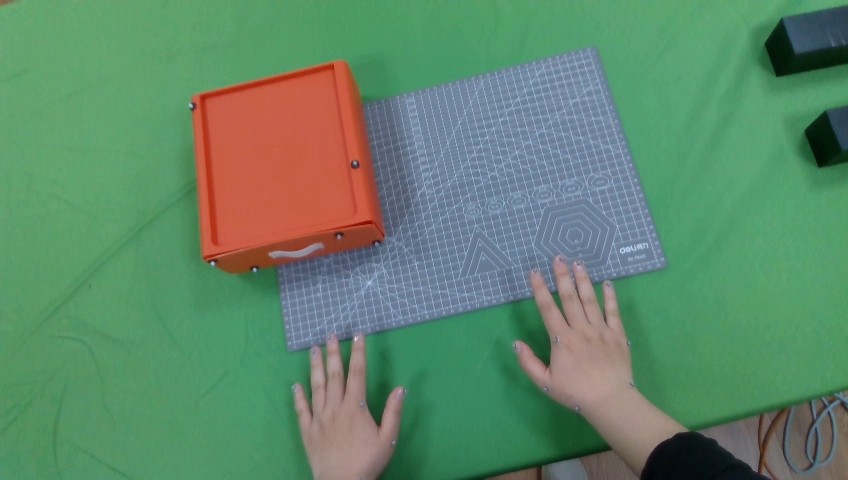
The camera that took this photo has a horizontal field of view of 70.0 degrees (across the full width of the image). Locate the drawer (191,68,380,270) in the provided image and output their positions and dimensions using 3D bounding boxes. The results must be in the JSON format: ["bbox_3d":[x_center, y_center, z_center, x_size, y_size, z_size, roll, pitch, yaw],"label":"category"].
[{"bbox_3d":[-0.168,-0.084,0.729,0.194,0.074,0.210,-13,73,5],"label":"drawer"}]

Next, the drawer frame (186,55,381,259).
[{"bbox_3d":[-0.171,-0.090,0.729,0.201,0.083,0.212,-13,73,4],"label":"drawer frame"}]

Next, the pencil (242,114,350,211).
[{"bbox_3d":[-0.160,-0.097,0.758,0.193,0.012,0.012,41,83,13],"label":"pencil"}]
